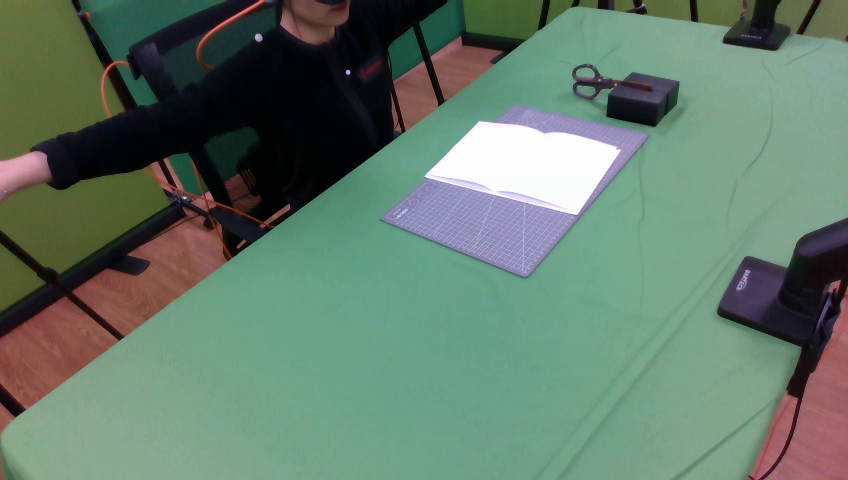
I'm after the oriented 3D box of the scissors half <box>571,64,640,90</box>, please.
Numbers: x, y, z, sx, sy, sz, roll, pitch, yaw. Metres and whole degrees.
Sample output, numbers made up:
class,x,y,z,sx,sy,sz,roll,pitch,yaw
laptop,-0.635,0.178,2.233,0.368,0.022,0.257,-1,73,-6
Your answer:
class,x,y,z,sx,sy,sz,roll,pitch,yaw
scissors half,0.378,-0.327,1.229,0.174,0.040,0.013,25,48,33

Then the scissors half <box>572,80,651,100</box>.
class,x,y,z,sx,sy,sz,roll,pitch,yaw
scissors half,0.382,-0.309,1.239,0.174,0.040,0.013,9,32,45
